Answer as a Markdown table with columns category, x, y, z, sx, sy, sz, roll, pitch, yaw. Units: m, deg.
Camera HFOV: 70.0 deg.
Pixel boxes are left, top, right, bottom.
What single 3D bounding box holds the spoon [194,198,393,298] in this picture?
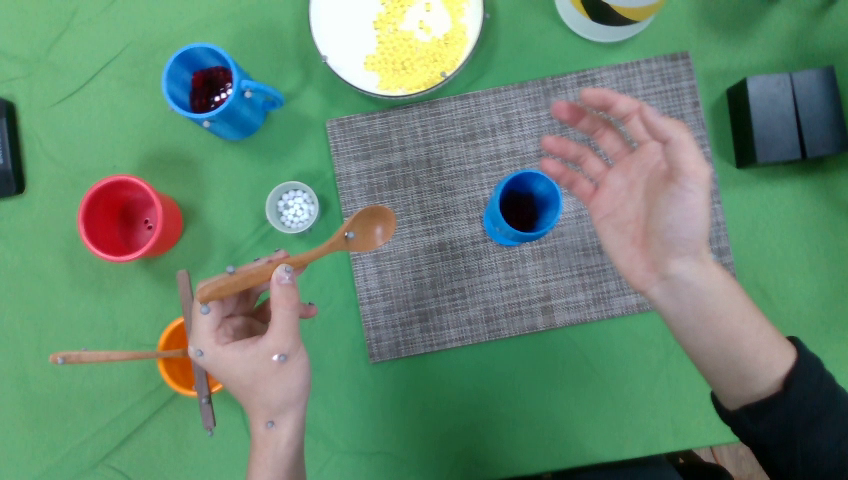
| category | x | y | z | sx | sy | sz | roll | pitch | yaw |
| --- | --- | --- | --- | --- | --- | --- | --- | --- | --- |
| spoon | -0.088 | 0.005 | 0.460 | 0.021 | 0.194 | 0.042 | 18 | 116 | 28 |

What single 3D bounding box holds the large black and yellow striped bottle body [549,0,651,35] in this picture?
| category | x | y | z | sx | sy | sz | roll | pitch | yaw |
| --- | --- | --- | --- | --- | --- | --- | --- | --- | --- |
| large black and yellow striped bottle body | 0.209 | -0.317 | 0.651 | 0.131 | 0.184 | 0.130 | 0 | 88 | 2 |

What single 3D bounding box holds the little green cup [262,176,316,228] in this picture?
| category | x | y | z | sx | sy | sz | roll | pitch | yaw |
| --- | --- | --- | --- | --- | --- | --- | --- | --- | --- |
| little green cup | -0.159 | -0.043 | 0.723 | 0.061 | 0.038 | 0.061 | 0 | 89 | 2 |

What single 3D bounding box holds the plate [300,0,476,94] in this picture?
| category | x | y | z | sx | sy | sz | roll | pitch | yaw |
| --- | --- | --- | --- | --- | --- | --- | --- | --- | --- |
| plate | -0.042 | -0.276 | 0.728 | 0.209 | 0.038 | 0.209 | 0 | 89 | 1 |

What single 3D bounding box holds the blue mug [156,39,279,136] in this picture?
| category | x | y | z | sx | sy | sz | roll | pitch | yaw |
| --- | --- | --- | --- | --- | --- | --- | --- | --- | --- |
| blue mug | -0.227 | -0.171 | 0.695 | 0.116 | 0.106 | 0.082 | 2 | 88 | 1 |

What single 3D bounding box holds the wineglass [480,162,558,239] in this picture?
| category | x | y | z | sx | sy | sz | roll | pitch | yaw |
| --- | --- | --- | --- | --- | --- | --- | --- | --- | --- |
| wineglass | 0.096 | -0.037 | 0.647 | 0.074 | 0.172 | 0.073 | 0 | 87 | 2 |

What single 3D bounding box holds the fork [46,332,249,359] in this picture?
| category | x | y | z | sx | sy | sz | roll | pitch | yaw |
| --- | --- | --- | --- | --- | --- | --- | --- | --- | --- |
| fork | -0.294 | 0.119 | 0.667 | 0.209 | 0.018 | 0.028 | 5 | 94 | -42 |

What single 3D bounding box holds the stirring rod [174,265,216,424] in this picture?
| category | x | y | z | sx | sy | sz | roll | pitch | yaw |
| --- | --- | --- | --- | --- | --- | --- | --- | --- | --- |
| stirring rod | -0.251 | 0.113 | 0.663 | 0.014 | 0.006 | 0.176 | -12 | 88 | 2 |
